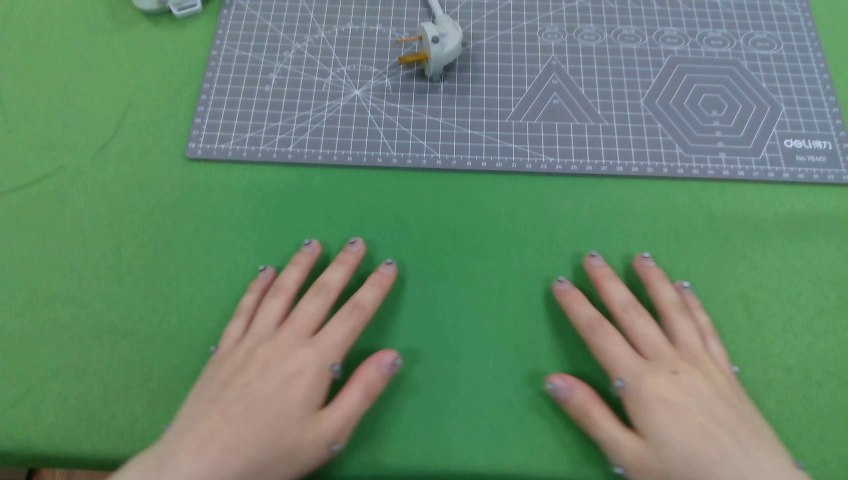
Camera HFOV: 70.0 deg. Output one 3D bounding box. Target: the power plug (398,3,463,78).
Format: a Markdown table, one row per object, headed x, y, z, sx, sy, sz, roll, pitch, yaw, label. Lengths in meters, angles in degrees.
| x | y | z | sx | sy | sz | roll | pitch | yaw | label |
| --- | --- | --- | --- | --- | --- | --- | --- | --- | --- |
| 0.006 | -0.135 | 0.400 | 0.035 | 0.072 | 0.053 | -1 | 97 | 10 | power plug |

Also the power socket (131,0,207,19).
| x | y | z | sx | sy | sz | roll | pitch | yaw | label |
| --- | --- | --- | --- | --- | --- | --- | --- | --- | --- |
| -0.220 | -0.270 | 0.488 | 0.072 | 0.033 | 0.225 | -20 | 67 | -10 | power socket |
